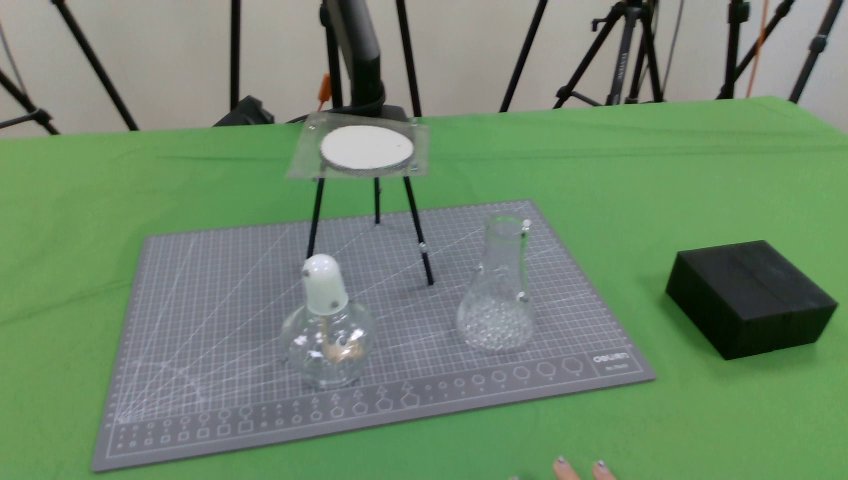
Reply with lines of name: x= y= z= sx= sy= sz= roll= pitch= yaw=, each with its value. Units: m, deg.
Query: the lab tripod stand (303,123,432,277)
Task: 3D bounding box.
lab tripod stand: x=-0.052 y=-0.038 z=0.602 sx=0.148 sy=0.132 sz=0.147 roll=3 pitch=36 yaw=-2

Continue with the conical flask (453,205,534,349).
conical flask: x=0.065 y=0.029 z=0.526 sx=0.075 sy=0.123 sz=0.074 roll=2 pitch=37 yaw=-1

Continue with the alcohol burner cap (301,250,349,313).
alcohol burner cap: x=-0.077 y=0.030 z=0.464 sx=0.034 sy=0.048 sz=0.033 roll=-3 pitch=40 yaw=3

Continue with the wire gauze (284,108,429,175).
wire gauze: x=-0.057 y=-0.092 z=0.562 sx=0.121 sy=0.011 sz=0.124 roll=3 pitch=37 yaw=-1

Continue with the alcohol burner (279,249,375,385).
alcohol burner: x=-0.079 y=0.058 z=0.486 sx=0.078 sy=0.120 sz=0.077 roll=1 pitch=35 yaw=0
